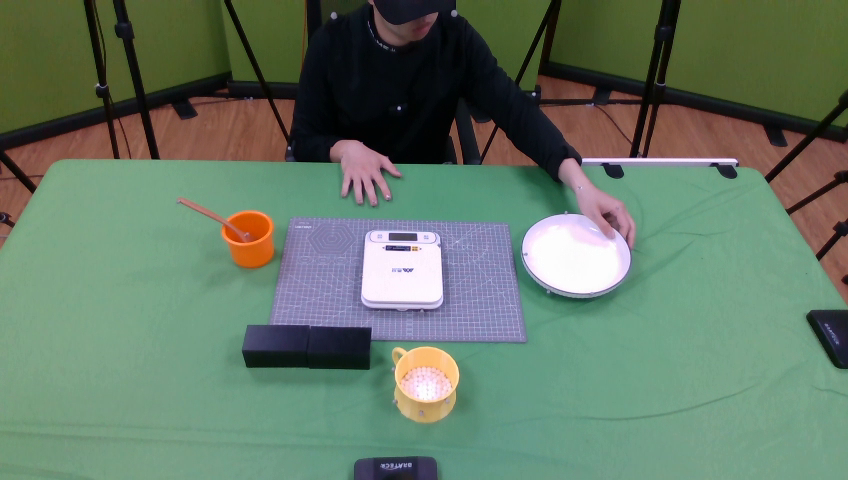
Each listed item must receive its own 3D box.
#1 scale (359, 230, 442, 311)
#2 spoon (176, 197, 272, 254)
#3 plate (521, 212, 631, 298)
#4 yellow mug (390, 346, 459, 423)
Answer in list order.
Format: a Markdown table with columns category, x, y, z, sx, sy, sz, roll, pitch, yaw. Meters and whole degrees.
| category | x | y | z | sx | sy | sz | roll | pitch | yaw |
| --- | --- | --- | --- | --- | --- | --- | --- | --- | --- |
| scale | -0.043 | 0.048 | 1.138 | 0.149 | 0.032 | 0.199 | 2 | 46 | -3 |
| spoon | -0.363 | -0.028 | 1.108 | 0.021 | 0.195 | 0.041 | -35 | 36 | 24 |
| plate | 0.290 | 0.031 | 1.169 | 0.209 | 0.038 | 0.208 | -2 | 47 | 2 |
| yellow mug | -0.009 | 0.217 | 0.958 | 0.100 | 0.064 | 0.130 | -33 | 56 | -31 |
